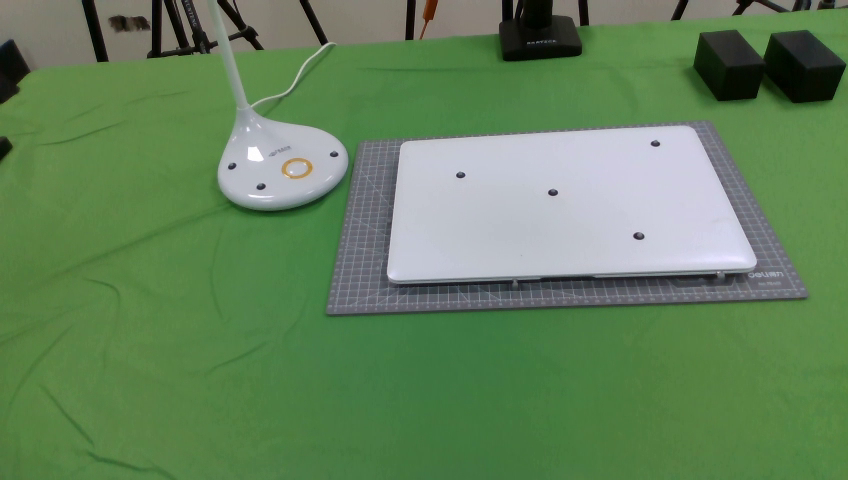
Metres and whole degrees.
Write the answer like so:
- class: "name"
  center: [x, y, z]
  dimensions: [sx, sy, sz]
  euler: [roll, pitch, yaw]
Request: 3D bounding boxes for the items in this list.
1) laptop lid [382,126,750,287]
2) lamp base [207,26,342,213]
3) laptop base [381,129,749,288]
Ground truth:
- class: "laptop lid"
  center: [0.135, -0.046, 0.656]
  dimensions: [0.356, 0.013, 0.239]
  euler: [-2, 45, 5]
- class: "lamp base"
  center: [-0.198, -0.148, 0.706]
  dimensions: [0.177, 0.182, 0.160]
  euler: [26, 52, 33]
- class: "laptop base"
  center: [0.136, -0.038, 0.666]
  dimensions: [0.354, 0.023, 0.233]
  euler: [-3, 46, 4]
